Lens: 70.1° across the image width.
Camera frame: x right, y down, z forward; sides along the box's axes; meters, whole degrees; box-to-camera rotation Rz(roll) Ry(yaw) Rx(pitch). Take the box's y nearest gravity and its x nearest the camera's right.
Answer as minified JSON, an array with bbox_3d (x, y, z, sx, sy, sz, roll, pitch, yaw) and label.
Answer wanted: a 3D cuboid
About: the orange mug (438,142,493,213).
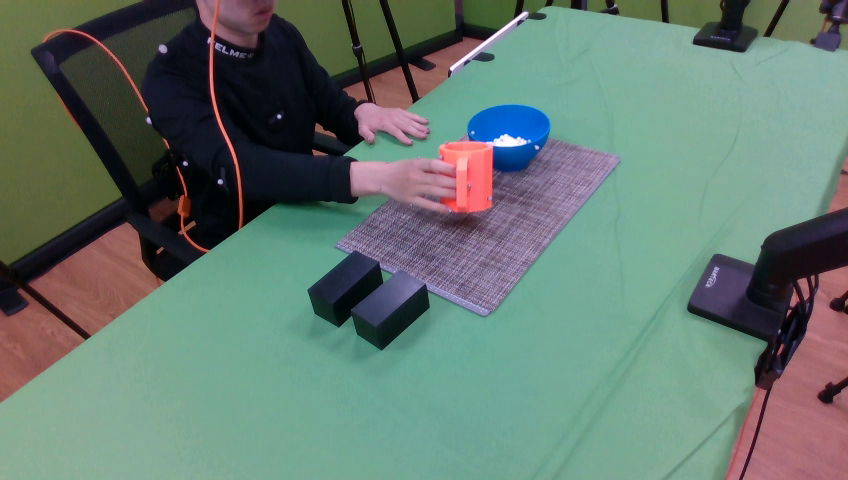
[{"bbox_3d":[0.064,-0.096,0.942,0.083,0.101,0.126,1,16,8],"label":"orange mug"}]

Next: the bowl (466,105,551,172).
[{"bbox_3d":[0.155,-0.177,1.105,0.151,0.077,0.150,-3,40,3],"label":"bowl"}]
